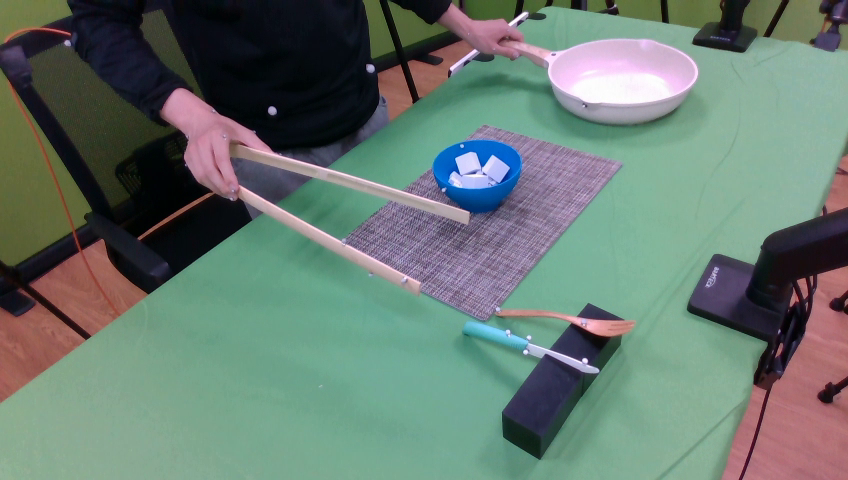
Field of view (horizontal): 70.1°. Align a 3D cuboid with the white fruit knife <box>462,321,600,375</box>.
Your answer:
[{"bbox_3d":[0.126,0.132,0.752,0.205,0.027,0.016,12,47,42],"label":"white fruit knife"}]

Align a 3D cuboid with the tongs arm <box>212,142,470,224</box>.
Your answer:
[{"bbox_3d":[-0.121,-0.081,0.850,0.386,0.028,0.028,16,55,11],"label":"tongs arm"}]

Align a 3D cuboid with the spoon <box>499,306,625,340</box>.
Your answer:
[{"bbox_3d":[0.169,0.102,0.773,0.042,0.021,0.192,-10,13,-38],"label":"spoon"}]

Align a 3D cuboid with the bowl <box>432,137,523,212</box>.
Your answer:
[{"bbox_3d":[0.091,-0.100,1.022,0.151,0.077,0.150,-4,41,4],"label":"bowl"}]

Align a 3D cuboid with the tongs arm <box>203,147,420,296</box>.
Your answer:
[{"bbox_3d":[-0.157,-0.032,0.804,0.383,0.026,0.051,26,54,19],"label":"tongs arm"}]

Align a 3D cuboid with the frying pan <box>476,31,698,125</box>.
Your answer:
[{"bbox_3d":[0.321,-0.371,1.290,0.484,0.103,0.307,29,51,24],"label":"frying pan"}]
